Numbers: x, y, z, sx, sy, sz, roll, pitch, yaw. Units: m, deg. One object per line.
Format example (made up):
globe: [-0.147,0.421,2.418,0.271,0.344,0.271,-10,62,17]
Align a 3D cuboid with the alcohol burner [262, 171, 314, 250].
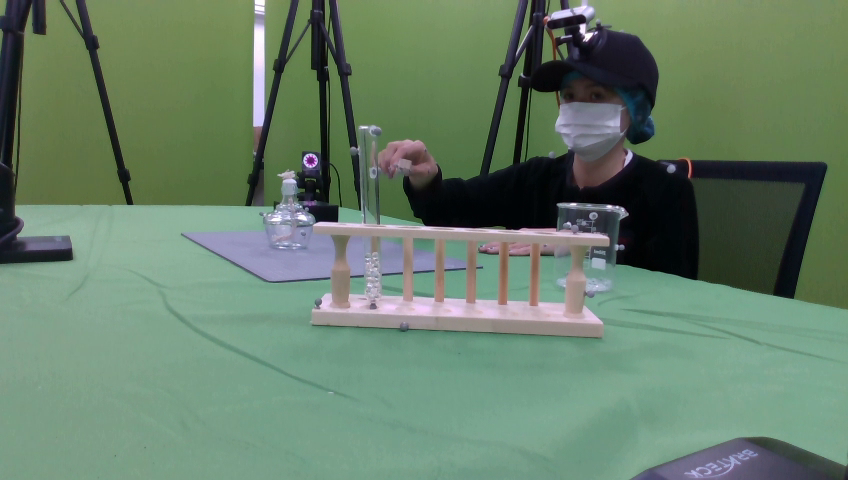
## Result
alcohol burner: [-0.205,-0.045,0.913,0.078,0.119,0.078,1,9,0]

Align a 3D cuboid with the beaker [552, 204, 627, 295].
beaker: [0.191,0.010,0.708,0.083,0.100,0.074,8,9,33]

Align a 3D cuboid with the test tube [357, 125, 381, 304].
test tube: [-0.045,-0.019,0.501,0.017,0.150,0.017,-1,12,0]

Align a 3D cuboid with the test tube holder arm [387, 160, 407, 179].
test tube holder arm: [-0.044,-0.109,0.950,0.013,0.015,0.178,19,-2,-11]

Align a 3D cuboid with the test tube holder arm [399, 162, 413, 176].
test tube holder arm: [-0.030,-0.106,0.906,0.010,0.015,0.087,19,-2,-11]

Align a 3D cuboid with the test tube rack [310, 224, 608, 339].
test tube rack: [0.028,0.032,0.528,0.242,0.085,0.067,3,7,0]

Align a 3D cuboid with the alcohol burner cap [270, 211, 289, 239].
alcohol burner cap: [-0.246,-0.026,1.035,0.034,0.048,0.034,2,8,0]
